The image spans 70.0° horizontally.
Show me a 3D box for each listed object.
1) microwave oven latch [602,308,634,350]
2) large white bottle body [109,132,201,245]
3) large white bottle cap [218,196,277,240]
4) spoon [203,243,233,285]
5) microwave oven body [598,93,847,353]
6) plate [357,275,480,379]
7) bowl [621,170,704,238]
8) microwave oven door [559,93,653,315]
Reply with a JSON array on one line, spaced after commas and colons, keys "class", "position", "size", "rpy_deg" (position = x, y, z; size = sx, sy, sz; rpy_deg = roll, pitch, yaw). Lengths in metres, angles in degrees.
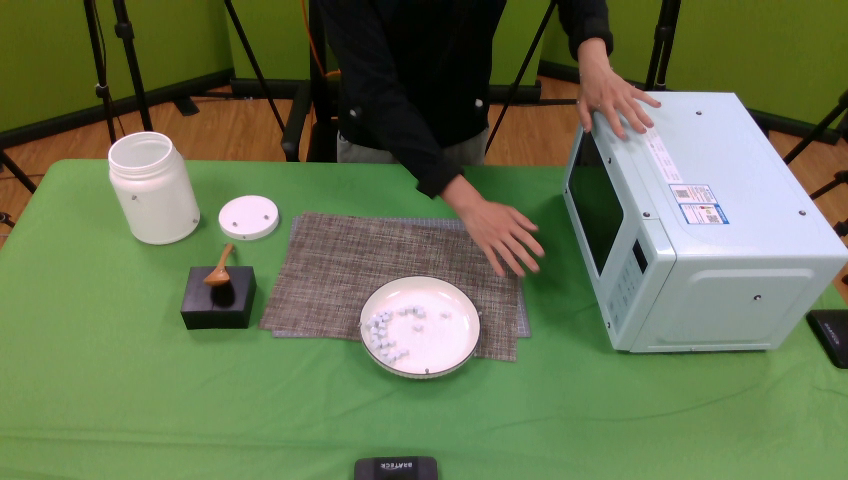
[{"class": "microwave oven latch", "position": [0.332, 0.153, 1.044], "size": [0.030, 0.029, 0.078], "rpy_deg": [-1, 45, -4]}, {"class": "large white bottle body", "position": [-0.506, -0.097, 1.141], "size": [0.131, 0.185, 0.130], "rpy_deg": [2, 46, -2]}, {"class": "large white bottle cap", "position": [-0.354, -0.045, 1.220], "size": [0.115, 0.018, 0.114], "rpy_deg": [2, 46, -2]}, {"class": "spoon", "position": [-0.360, 0.039, 1.087], "size": [0.041, 0.022, 0.192], "rpy_deg": [-5, 24, -7]}, {"class": "microwave oven body", "position": [0.476, -0.041, 1.109], "size": [0.326, 0.261, 0.438], "rpy_deg": [-1, 45, -4]}, {"class": "plate", "position": [-0.010, 0.151, 1.038], "size": [0.209, 0.038, 0.208], "rpy_deg": [2, 47, -2]}, {"class": "bowl", "position": [0.446, -0.057, 1.166], "size": [0.151, 0.077, 0.150], "rpy_deg": [2, 46, -2]}, {"class": "microwave oven door", "position": [0.327, -0.074, 1.123], "size": [0.039, 0.245, 0.353], "rpy_deg": [-1, 46, -5]}]
